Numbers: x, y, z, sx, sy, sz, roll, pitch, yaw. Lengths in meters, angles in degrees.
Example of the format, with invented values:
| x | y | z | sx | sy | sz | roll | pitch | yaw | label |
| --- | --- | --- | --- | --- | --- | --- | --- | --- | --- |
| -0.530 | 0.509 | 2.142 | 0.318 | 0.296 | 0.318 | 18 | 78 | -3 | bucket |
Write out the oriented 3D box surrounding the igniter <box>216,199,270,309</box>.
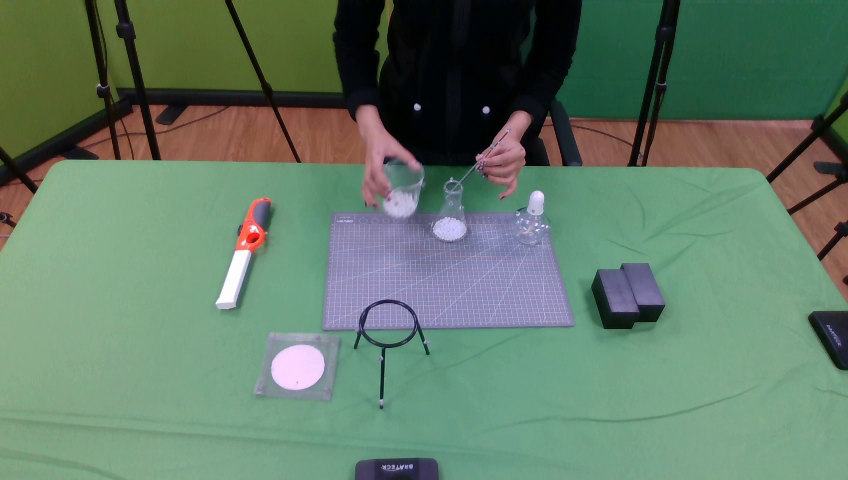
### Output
| x | y | z | sx | sy | sz | roll | pitch | yaw | label |
| --- | --- | --- | --- | --- | --- | --- | --- | --- | --- |
| -0.342 | 0.016 | 1.153 | 0.057 | 0.025 | 0.275 | -3 | 45 | 7 | igniter |

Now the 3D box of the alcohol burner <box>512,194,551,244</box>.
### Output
| x | y | z | sx | sy | sz | roll | pitch | yaw | label |
| --- | --- | --- | --- | --- | --- | --- | --- | --- | --- |
| 0.215 | -0.048 | 1.196 | 0.078 | 0.119 | 0.077 | 4 | 46 | -4 | alcohol burner |

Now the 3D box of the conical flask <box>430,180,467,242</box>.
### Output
| x | y | z | sx | sy | sz | roll | pitch | yaw | label |
| --- | --- | --- | --- | --- | --- | --- | --- | --- | --- |
| 0.052 | -0.060 | 1.188 | 0.075 | 0.122 | 0.075 | 2 | 46 | -2 | conical flask |

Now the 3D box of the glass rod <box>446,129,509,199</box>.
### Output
| x | y | z | sx | sy | sz | roll | pitch | yaw | label |
| --- | --- | --- | --- | --- | --- | --- | --- | --- | --- |
| 0.095 | -0.135 | 1.107 | 0.008 | 0.200 | 0.008 | 20 | 47 | -23 | glass rod |

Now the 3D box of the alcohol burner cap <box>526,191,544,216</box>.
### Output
| x | y | z | sx | sy | sz | roll | pitch | yaw | label |
| --- | --- | --- | --- | --- | --- | --- | --- | --- | --- |
| 0.216 | -0.073 | 1.170 | 0.034 | 0.048 | 0.033 | 0 | 42 | 0 | alcohol burner cap |

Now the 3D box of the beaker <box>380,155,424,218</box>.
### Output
| x | y | z | sx | sy | sz | roll | pitch | yaw | label |
| --- | --- | --- | --- | --- | --- | --- | --- | --- | --- |
| -0.044 | -0.095 | 1.134 | 0.074 | 0.100 | 0.083 | 24 | 54 | 8 | beaker |

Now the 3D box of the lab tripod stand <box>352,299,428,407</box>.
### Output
| x | y | z | sx | sy | sz | roll | pitch | yaw | label |
| --- | --- | --- | --- | --- | --- | --- | --- | --- | --- |
| -0.056 | 0.166 | 0.958 | 0.148 | 0.132 | 0.147 | 3 | 44 | -2 | lab tripod stand |

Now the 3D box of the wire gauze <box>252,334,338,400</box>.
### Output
| x | y | z | sx | sy | sz | roll | pitch | yaw | label |
| --- | --- | --- | --- | --- | --- | --- | --- | --- | --- |
| -0.209 | 0.204 | 0.996 | 0.125 | 0.011 | 0.120 | 3 | 45 | 1 | wire gauze |
